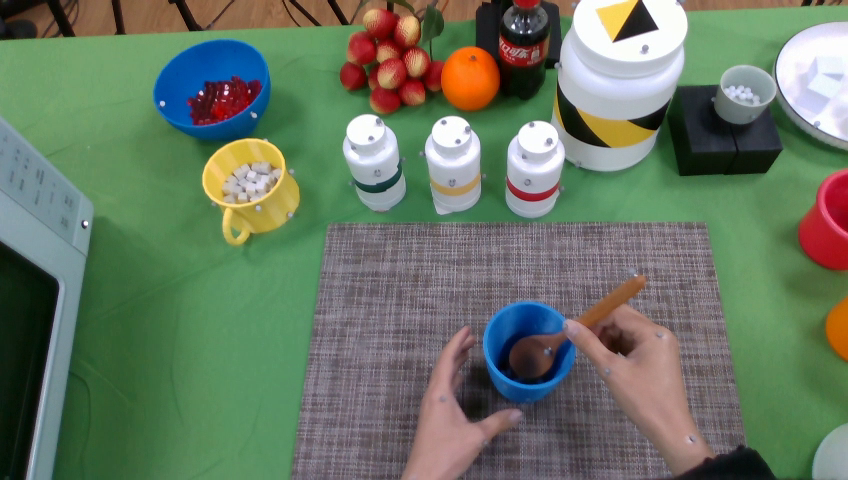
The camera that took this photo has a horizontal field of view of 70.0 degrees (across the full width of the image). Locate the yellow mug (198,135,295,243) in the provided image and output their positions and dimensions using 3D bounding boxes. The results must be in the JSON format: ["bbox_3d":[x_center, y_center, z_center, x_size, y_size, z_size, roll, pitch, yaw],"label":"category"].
[{"bbox_3d":[-0.220,-0.057,0.740,0.100,0.064,0.130,9,64,9],"label":"yellow mug"}]

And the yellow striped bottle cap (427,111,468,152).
[{"bbox_3d":[0.025,-0.118,0.660,0.044,0.019,0.044,-2,64,4],"label":"yellow striped bottle cap"}]

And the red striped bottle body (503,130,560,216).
[{"bbox_3d":[0.123,-0.084,0.693,0.063,0.121,0.062,-4,60,8],"label":"red striped bottle body"}]

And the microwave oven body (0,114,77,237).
[{"bbox_3d":[-0.565,0.104,0.573,0.326,0.262,0.437,-8,63,0],"label":"microwave oven body"}]

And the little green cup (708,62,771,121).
[{"bbox_3d":[0.364,-0.171,0.705,0.061,0.039,0.061,-1,61,3],"label":"little green cup"}]

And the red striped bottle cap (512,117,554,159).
[{"bbox_3d":[0.117,-0.110,0.647,0.044,0.018,0.044,0,61,1],"label":"red striped bottle cap"}]

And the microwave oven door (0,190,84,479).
[{"bbox_3d":[-0.416,0.116,0.548,0.039,0.246,0.352,-9,62,1],"label":"microwave oven door"}]

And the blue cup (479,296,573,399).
[{"bbox_3d":[0.096,0.115,0.597,0.092,0.101,0.092,-1,62,3],"label":"blue cup"}]

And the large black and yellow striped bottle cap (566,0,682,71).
[{"bbox_3d":[0.205,-0.223,0.626,0.115,0.019,0.114,-2,61,5],"label":"large black and yellow striped bottle cap"}]

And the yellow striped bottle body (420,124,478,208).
[{"bbox_3d":[0.030,-0.094,0.706,0.063,0.121,0.062,-3,62,5],"label":"yellow striped bottle body"}]

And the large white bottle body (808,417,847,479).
[{"bbox_3d":[0.417,0.188,0.486,0.130,0.186,0.129,-2,61,4],"label":"large white bottle body"}]

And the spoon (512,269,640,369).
[{"bbox_3d":[0.129,0.077,0.546,0.021,0.194,0.041,-30,76,-34],"label":"spoon"}]

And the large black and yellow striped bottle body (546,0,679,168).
[{"bbox_3d":[0.214,-0.185,0.701,0.131,0.185,0.129,-2,62,5],"label":"large black and yellow striped bottle body"}]

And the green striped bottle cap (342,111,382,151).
[{"bbox_3d":[-0.069,-0.121,0.670,0.044,0.020,0.044,-2,61,3],"label":"green striped bottle cap"}]

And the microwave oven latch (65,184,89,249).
[{"bbox_3d":[-0.431,-0.028,0.739,0.030,0.030,0.078,-7,63,1],"label":"microwave oven latch"}]

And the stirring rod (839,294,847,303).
[{"bbox_3d":[0.448,0.088,0.562,0.014,0.006,0.175,-7,19,2],"label":"stirring rod"}]

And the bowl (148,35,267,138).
[{"bbox_3d":[-0.274,-0.190,0.807,0.151,0.077,0.150,-2,63,4],"label":"bowl"}]

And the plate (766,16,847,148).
[{"bbox_3d":[0.535,-0.193,0.759,0.209,0.038,0.207,-2,63,4],"label":"plate"}]

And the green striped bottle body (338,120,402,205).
[{"bbox_3d":[-0.064,-0.097,0.716,0.063,0.120,0.062,-2,62,4],"label":"green striped bottle body"}]

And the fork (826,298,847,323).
[{"bbox_3d":[0.476,0.088,0.554,0.028,0.019,0.206,-32,20,-16],"label":"fork"}]
